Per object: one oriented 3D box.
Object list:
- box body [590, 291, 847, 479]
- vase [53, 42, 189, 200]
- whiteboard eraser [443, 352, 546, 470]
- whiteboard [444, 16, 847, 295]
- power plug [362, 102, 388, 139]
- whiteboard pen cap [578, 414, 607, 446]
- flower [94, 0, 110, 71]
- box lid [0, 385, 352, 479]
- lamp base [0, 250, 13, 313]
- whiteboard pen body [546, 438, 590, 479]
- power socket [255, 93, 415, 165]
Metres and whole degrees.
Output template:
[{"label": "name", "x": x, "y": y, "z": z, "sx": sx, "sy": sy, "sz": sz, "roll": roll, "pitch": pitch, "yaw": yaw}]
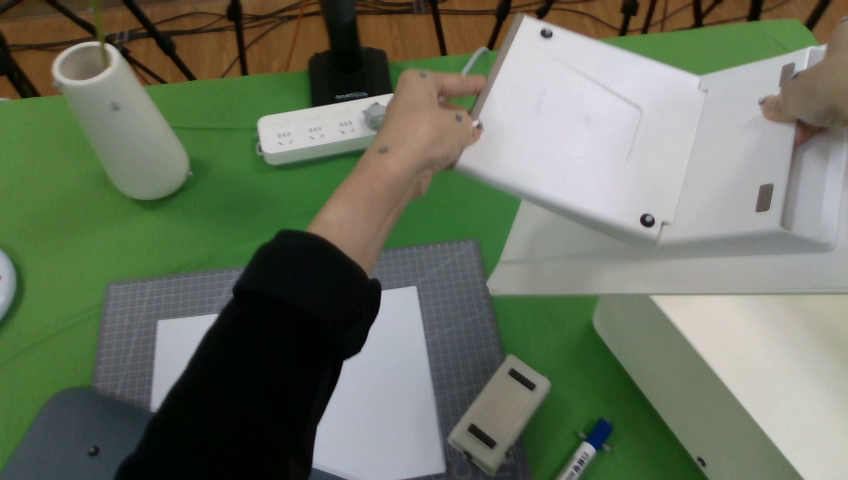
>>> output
[{"label": "box body", "x": 0.365, "y": 0.123, "z": 0.584, "sx": 0.254, "sy": 0.162, "sz": 0.360, "roll": -26, "pitch": 61, "yaw": -15}, {"label": "vase", "x": -0.360, "y": -0.137, "z": 0.729, "sx": 0.098, "sy": 0.202, "sz": 0.097, "roll": -1, "pitch": 57, "yaw": 2}, {"label": "whiteboard eraser", "x": 0.073, "y": 0.174, "z": 0.621, "sx": 0.055, "sy": 0.042, "sz": 0.112, "roll": 33, "pitch": 63, "yaw": 20}, {"label": "whiteboard", "x": 0.157, "y": -0.089, "z": 0.438, "sx": 0.304, "sy": 0.145, "sz": 0.216, "roll": -5, "pitch": 51, "yaw": 46}, {"label": "power plug", "x": -0.065, "y": -0.152, "z": 0.811, "sx": 0.035, "sy": 0.053, "sz": 0.072, "roll": -3, "pitch": 64, "yaw": -2}, {"label": "whiteboard pen cap", "x": 0.173, "y": 0.197, "z": 0.625, "sx": 0.018, "sy": 0.018, "sz": 0.033, "roll": 36, "pitch": 66, "yaw": 22}, {"label": "flower", "x": -0.340, "y": -0.176, "z": 0.657, "sx": 0.038, "sy": 0.363, "sz": 0.044, "roll": 39, "pitch": 56, "yaw": 3}, {"label": "box lid", "x": -0.263, "y": 0.301, "z": 0.563, "sx": 0.370, "sy": 0.015, "sz": 0.261, "roll": 15, "pitch": 59, "yaw": 9}, {"label": "lamp base", "x": -0.576, "y": 0.020, "z": 0.641, "sx": 0.178, "sy": 0.182, "sz": 0.160, "roll": 21, "pitch": 59, "yaw": 16}, {"label": "whiteboard pen body", "x": 0.134, "y": 0.234, "z": 0.601, "sx": 0.017, "sy": 0.017, "sz": 0.140, "roll": 37, "pitch": 65, "yaw": 22}, {"label": "power socket", "x": -0.122, "y": -0.154, "z": 0.838, "sx": 0.227, "sy": 0.033, "sz": 0.071, "roll": -11, "pitch": 59, "yaw": -8}]
